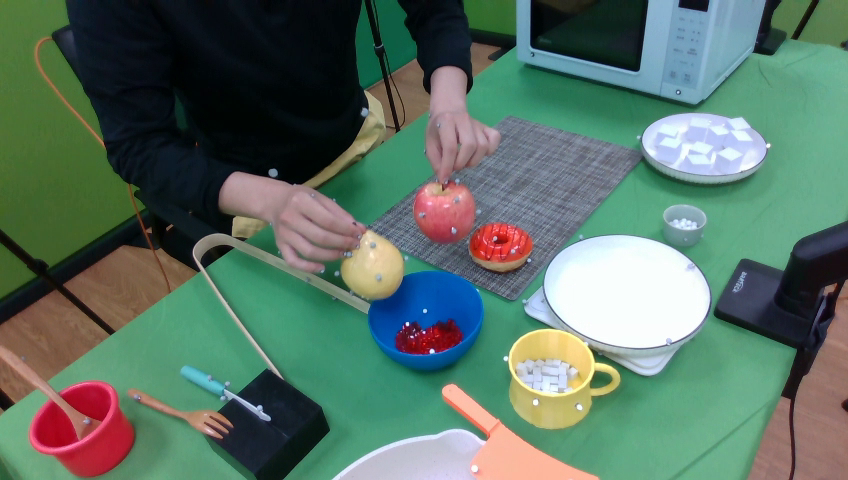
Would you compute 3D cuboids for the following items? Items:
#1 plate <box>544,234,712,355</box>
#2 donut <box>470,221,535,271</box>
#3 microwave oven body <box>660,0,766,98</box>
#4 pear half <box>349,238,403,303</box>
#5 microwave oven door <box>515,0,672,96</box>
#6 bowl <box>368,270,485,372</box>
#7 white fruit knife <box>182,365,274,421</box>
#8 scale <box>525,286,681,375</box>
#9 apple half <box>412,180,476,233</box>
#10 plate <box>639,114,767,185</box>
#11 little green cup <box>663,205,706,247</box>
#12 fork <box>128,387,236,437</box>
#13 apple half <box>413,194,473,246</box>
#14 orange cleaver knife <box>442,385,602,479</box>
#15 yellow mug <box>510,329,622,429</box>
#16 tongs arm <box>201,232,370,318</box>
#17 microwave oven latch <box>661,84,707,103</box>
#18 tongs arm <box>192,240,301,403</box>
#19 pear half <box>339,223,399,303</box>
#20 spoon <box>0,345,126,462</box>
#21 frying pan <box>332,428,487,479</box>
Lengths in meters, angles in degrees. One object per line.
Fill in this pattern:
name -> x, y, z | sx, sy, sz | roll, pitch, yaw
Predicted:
plate -> 0.262, 0.072, 0.792 | 0.209, 0.038, 0.208 | -4, 41, 4
donut -> 0.119, 0.009, 0.923 | 0.099, 0.048, 0.098 | -3, 38, 3
microwave oven body -> 0.472, -0.513, 1.317 | 0.438, 0.261, 0.327 | 26, 51, 34
pear half -> -0.051, 0.040, 0.716 | 0.070, 0.088, 0.031 | -35, 40, -25
microwave oven door -> 0.343, -0.454, 1.259 | 0.353, 0.245, 0.039 | 26, 51, 33
bowl -> 0.007, 0.119, 0.791 | 0.151, 0.077, 0.150 | -4, 40, 4
white fruit knife -> -0.245, 0.187, 0.747 | 0.205, 0.027, 0.016 | 9, 41, 41
scale -> 0.254, 0.091, 0.821 | 0.199, 0.032, 0.149 | 27, 51, 35
apple half -> 0.029, -0.041, 0.774 | 0.080, 0.075, 0.053 | -3, 34, 17
plate -> 0.489, -0.157, 1.074 | 0.207, 0.039, 0.206 | -4, 40, 4
little green cup -> 0.396, -0.020, 0.926 | 0.061, 0.039, 0.061 | -4, 40, 4
fork -> -0.305, 0.207, 0.744 | 0.206, 0.019, 0.028 | 3, 41, 35
apple half -> 0.022, -0.019, 0.743 | 0.081, 0.081, 0.032 | 3, 36, 12
orange cleaver knife -> 0.085, 0.219, 0.612 | 0.209, 0.012, 0.077 | 28, 49, 35
yellow mug -> 0.168, 0.164, 0.721 | 0.130, 0.064, 0.099 | 0, 40, 8
tongs arm -> -0.209, 0.061, 0.924 | 0.381, 0.026, 0.051 | 25, 53, 32
microwave oven latch -> 0.516, -0.296, 1.204 | 0.078, 0.029, 0.030 | 25, 50, 33
tongs arm -> -0.268, 0.105, 0.883 | 0.028, 0.028, 0.384 | -34, 46, -19
pear half -> -0.075, 0.019, 0.735 | 0.076, 0.110, 0.055 | -34, 40, -25
spoon -> -0.434, 0.192, 0.720 | 0.194, 0.021, 0.042 | 47, 53, -7
frying pan -> -0.089, 0.306, 0.564 | 0.487, 0.103, 0.306 | 9, 41, 7
